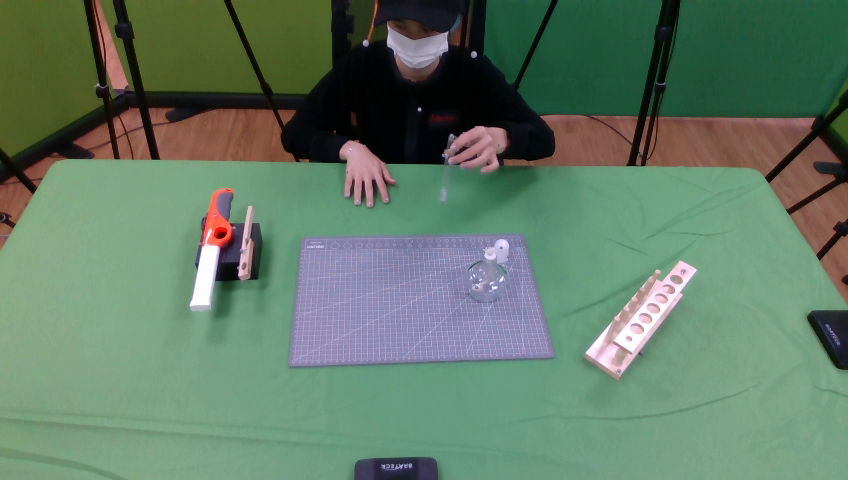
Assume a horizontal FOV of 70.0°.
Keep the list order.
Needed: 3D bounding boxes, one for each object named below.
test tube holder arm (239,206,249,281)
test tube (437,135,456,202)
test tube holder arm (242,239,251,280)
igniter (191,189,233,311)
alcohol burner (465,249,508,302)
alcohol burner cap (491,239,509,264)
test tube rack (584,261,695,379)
[{"bbox_3d":[-0.328,0.002,1.106,0.013,0.015,0.177,-7,47,-8],"label":"test tube holder arm"},{"bbox_3d":[0.041,-0.128,1.113,0.017,0.151,0.017,4,44,-4],"label":"test tube"},{"bbox_3d":[-0.314,0.034,1.077,0.010,0.015,0.087,-6,47,-7],"label":"test tube holder arm"},{"bbox_3d":[-0.381,0.008,1.092,0.057,0.025,0.274,-1,49,-6],"label":"igniter"},{"bbox_3d":[0.114,0.057,1.085,0.078,0.120,0.077,2,48,-2],"label":"alcohol burner"},{"bbox_3d":[0.150,0.020,1.174,0.034,0.048,0.033,2,46,-2],"label":"alcohol burner cap"},{"bbox_3d":[0.380,0.127,1.062,0.066,0.085,0.242,34,53,26],"label":"test tube rack"}]
